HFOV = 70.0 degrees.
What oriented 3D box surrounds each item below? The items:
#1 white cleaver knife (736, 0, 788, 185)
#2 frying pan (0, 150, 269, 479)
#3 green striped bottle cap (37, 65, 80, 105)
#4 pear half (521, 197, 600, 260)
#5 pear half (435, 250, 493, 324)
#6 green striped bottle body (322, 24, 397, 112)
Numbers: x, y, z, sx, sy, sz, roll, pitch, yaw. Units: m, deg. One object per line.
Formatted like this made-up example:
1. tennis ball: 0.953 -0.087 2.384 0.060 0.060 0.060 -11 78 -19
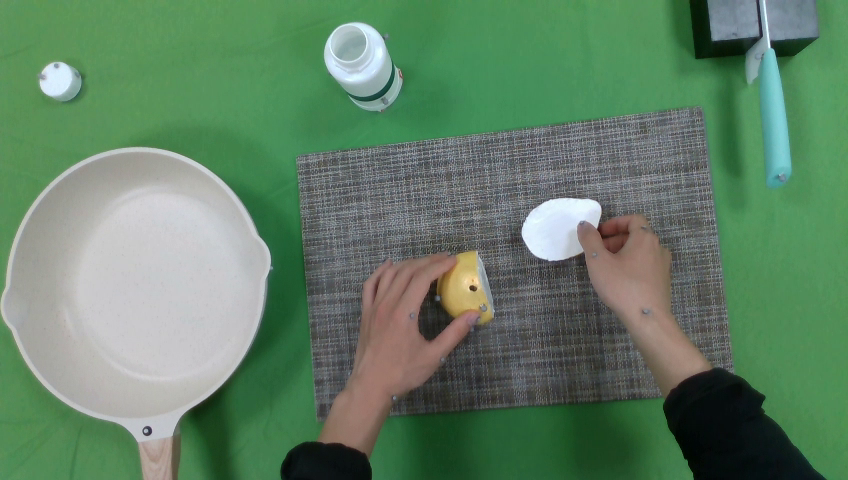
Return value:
1. white cleaver knife: 0.340 -0.198 0.618 0.021 0.066 0.285 -4 84 12
2. frying pan: -0.290 0.150 0.649 0.306 0.103 0.485 -11 77 6
3. green striped bottle cap: -0.437 -0.186 0.725 0.044 0.020 0.044 0 86 7
4. pear half: 0.146 -0.011 0.643 0.088 0.031 0.070 -30 69 -6
5. pear half: 0.038 0.050 0.612 0.056 0.110 0.076 -20 81 4
6. green striped bottle body: -0.068 -0.181 0.635 0.063 0.119 0.063 0 86 7
